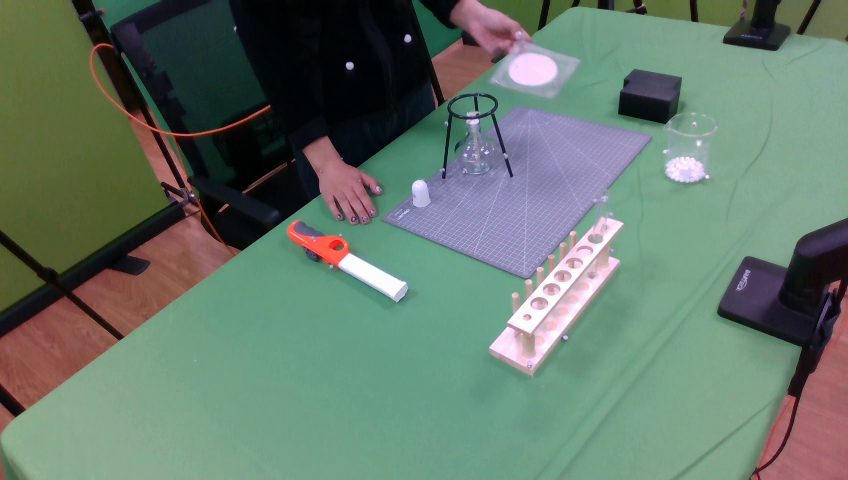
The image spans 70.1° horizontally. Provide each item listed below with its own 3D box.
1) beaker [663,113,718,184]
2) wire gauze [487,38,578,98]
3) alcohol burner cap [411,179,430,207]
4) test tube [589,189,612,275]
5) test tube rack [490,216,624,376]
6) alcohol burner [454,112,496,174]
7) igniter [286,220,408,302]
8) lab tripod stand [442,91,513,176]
[{"bbox_3d":[0.442,-0.151,1.018,0.084,0.101,0.074,-1,40,11],"label":"beaker"},{"bbox_3d":[0.193,-0.303,1.068,0.121,0.011,0.125,26,60,18],"label":"wire gauze"},{"bbox_3d":[-0.008,-0.085,1.063,0.034,0.048,0.033,-4,40,4],"label":"alcohol burner cap"},{"bbox_3d":[0.238,-0.007,0.818,0.017,0.151,0.017,-3,43,4],"label":"test tube"},{"bbox_3d":[0.184,0.064,0.822,0.066,0.085,0.243,24,50,33],"label":"test tube rack"},{"bbox_3d":[0.092,-0.181,1.102,0.078,0.119,0.077,-5,42,5],"label":"alcohol burner"},{"bbox_3d":[-0.134,0.028,0.969,0.274,0.025,0.057,26,61,35],"label":"igniter"},{"bbox_3d":[0.096,-0.190,1.096,0.148,0.132,0.147,-4,40,4],"label":"lab tripod stand"}]
